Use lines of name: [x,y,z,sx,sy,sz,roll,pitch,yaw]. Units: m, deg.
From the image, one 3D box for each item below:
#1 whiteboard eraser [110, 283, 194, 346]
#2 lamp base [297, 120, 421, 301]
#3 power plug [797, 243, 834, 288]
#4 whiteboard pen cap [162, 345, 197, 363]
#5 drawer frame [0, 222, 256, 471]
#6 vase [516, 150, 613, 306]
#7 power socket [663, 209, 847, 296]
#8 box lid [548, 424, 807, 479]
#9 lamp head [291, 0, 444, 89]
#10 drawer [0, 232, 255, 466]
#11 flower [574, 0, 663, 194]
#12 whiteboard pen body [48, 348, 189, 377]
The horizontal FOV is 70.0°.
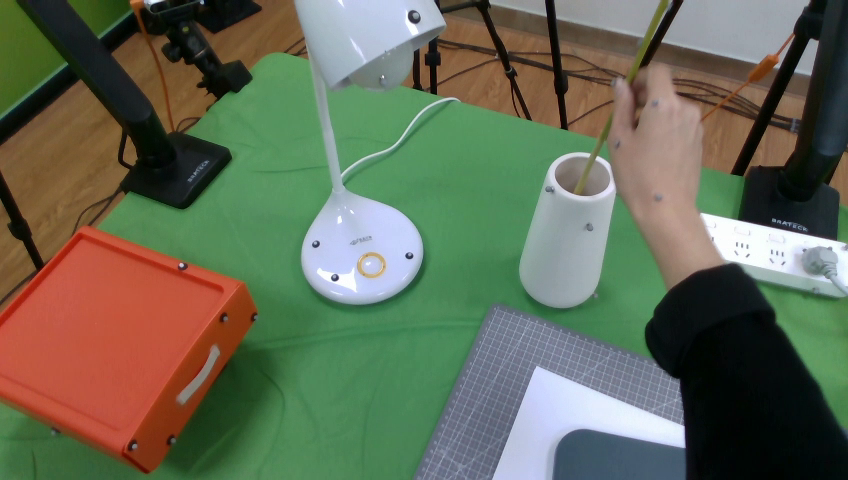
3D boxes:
whiteboard eraser: [-0.310,0.087,0.698,0.112,0.042,0.055,-15,58,29]
lamp base: [-0.094,-0.044,0.737,0.161,0.182,0.177,-27,54,-18]
power plug: [0.465,0.034,0.727,0.035,0.053,0.072,23,59,18]
whiteboard pen cap: [-0.262,0.123,0.651,0.033,0.018,0.018,-6,53,-7]
drawer frame: [-0.328,0.104,0.644,0.213,0.083,0.200,18,57,13]
vase: [0.160,-0.009,0.693,0.098,0.202,0.097,-1,52,2]
power socket: [0.426,0.014,0.772,0.226,0.033,0.072,14,56,11]
box lid: [0.229,0.357,0.533,0.263,0.015,0.368,9,55,8]
lamp head: [-0.060,-0.198,0.490,0.112,0.112,0.123,-34,97,-21]
drawer: [-0.322,0.103,0.640,0.211,0.074,0.193,18,57,14]
flower: [0.161,-0.113,0.516,0.044,0.364,0.038,4,57,0]
whiteboard pen body: [-0.321,0.128,0.641,0.141,0.017,0.017,-7,53,-5]
